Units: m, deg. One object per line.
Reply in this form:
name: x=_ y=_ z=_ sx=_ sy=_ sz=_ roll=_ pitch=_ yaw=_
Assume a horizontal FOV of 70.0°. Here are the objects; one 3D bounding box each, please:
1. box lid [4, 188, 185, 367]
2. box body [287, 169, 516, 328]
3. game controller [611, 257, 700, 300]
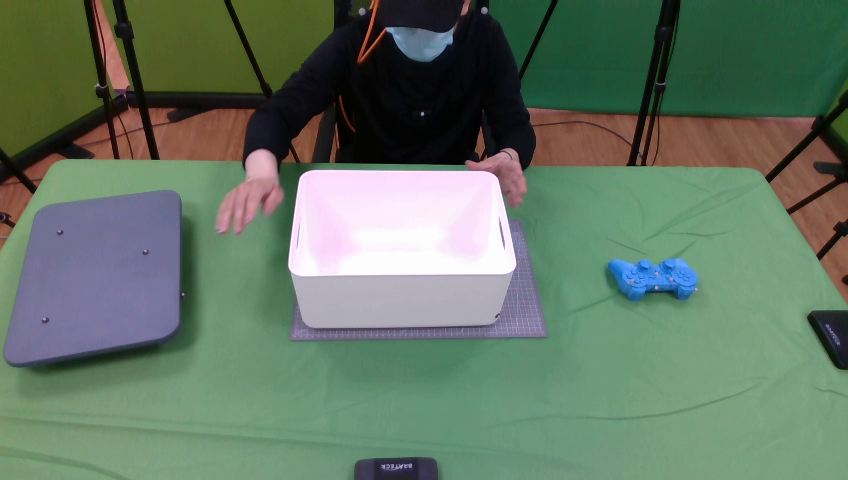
box lid: x=-0.558 y=0.048 z=1.060 sx=0.264 sy=0.015 sz=0.369 roll=-10 pitch=48 yaw=-12
box body: x=-0.040 y=0.015 z=1.075 sx=0.364 sy=0.161 sz=0.252 roll=-1 pitch=47 yaw=-4
game controller: x=0.441 y=0.063 z=1.144 sx=0.155 sy=0.052 sz=0.096 roll=-1 pitch=50 yaw=-4
